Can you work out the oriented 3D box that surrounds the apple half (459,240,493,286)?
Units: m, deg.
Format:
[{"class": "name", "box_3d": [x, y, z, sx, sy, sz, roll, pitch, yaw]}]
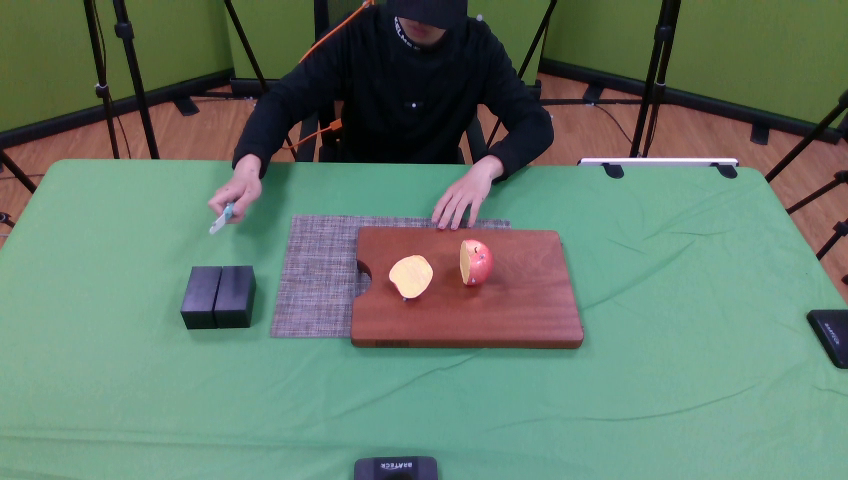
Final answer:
[{"class": "apple half", "box_3d": [0.096, 0.042, 1.093, 0.053, 0.075, 0.080, -1, 42, -10]}]

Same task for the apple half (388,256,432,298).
[{"class": "apple half", "box_3d": [-0.020, 0.069, 1.080, 0.081, 0.033, 0.081, -6, 62, 12]}]

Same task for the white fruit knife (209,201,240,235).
[{"class": "white fruit knife", "box_3d": [-0.359, -0.041, 1.091, 0.016, 0.027, 0.206, 7, 15, -7]}]
